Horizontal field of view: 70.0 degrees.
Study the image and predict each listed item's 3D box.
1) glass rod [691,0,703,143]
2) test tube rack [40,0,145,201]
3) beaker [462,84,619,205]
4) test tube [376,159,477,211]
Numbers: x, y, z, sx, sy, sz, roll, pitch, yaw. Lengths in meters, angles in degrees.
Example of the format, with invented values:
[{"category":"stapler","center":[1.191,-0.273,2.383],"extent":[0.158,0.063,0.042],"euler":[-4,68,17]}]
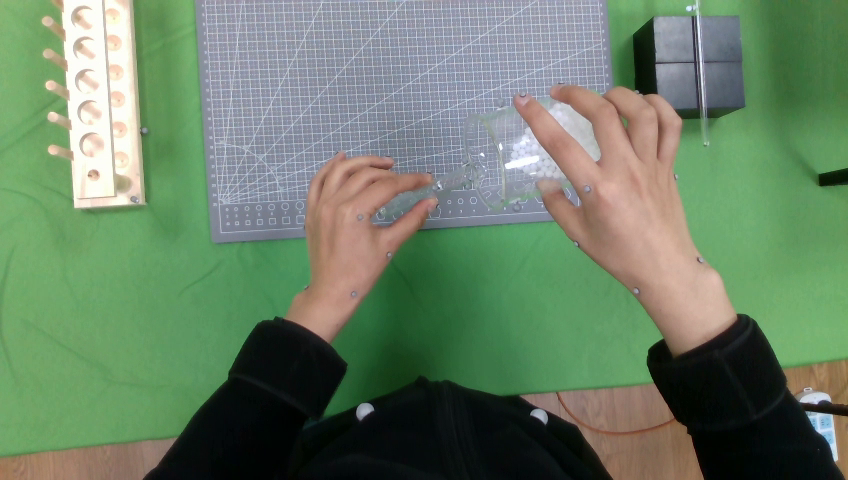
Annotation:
[{"category":"glass rod","center":[0.292,-0.203,0.649],"extent":[0.008,0.008,0.199],"euler":[-2,90,-6]},{"category":"test tube rack","center":[-0.326,-0.163,0.585],"extent":[0.067,0.085,0.242],"euler":[-4,90,-6]},{"category":"beaker","center":[0.087,-0.074,0.462],"extent":[0.100,0.084,0.074],"euler":[-15,88,-12]},{"category":"test tube","center":[-0.003,-0.047,0.550],"extent":[0.017,0.149,0.017],"euler":[7,77,-33]}]
